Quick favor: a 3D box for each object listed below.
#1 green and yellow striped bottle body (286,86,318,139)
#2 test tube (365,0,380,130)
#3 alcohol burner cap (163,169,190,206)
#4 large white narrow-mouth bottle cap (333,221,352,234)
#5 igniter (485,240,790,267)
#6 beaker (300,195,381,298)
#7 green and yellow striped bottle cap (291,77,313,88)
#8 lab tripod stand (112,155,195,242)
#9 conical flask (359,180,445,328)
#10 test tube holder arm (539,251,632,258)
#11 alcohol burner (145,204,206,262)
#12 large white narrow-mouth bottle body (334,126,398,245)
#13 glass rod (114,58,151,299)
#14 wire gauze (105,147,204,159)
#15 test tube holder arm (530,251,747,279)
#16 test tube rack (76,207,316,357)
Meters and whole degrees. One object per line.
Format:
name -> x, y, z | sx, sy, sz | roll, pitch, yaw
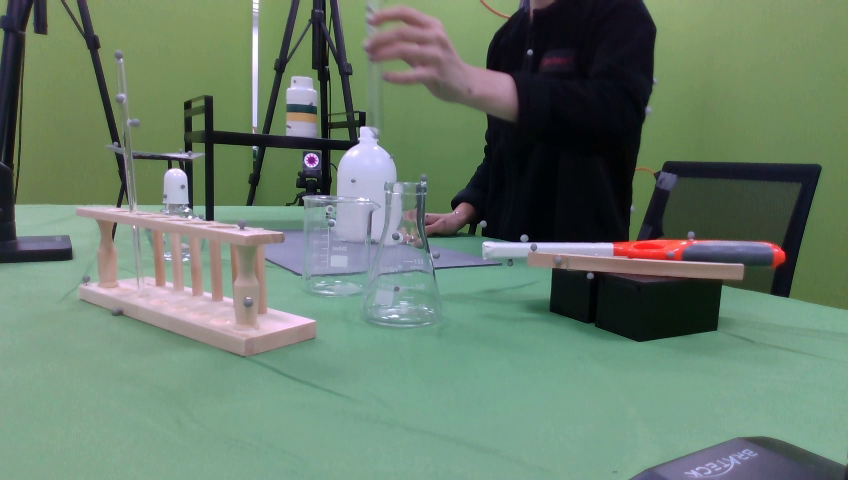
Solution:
green and yellow striped bottle body -> -0.251, -0.270, 1.245 | 0.063, 0.119, 0.063 | 2, 7, 0
test tube -> -0.057, -0.197, 0.664 | 0.017, 0.150, 0.017 | 1, 10, 0
alcohol burner cap -> -0.320, -0.067, 0.782 | 0.034, 0.048, 0.034 | 1, 7, 0
large white narrow-mouth bottle cap -> -0.152, -0.024, 1.134 | 0.038, 0.024, 0.037 | 4, 7, 0
igniter -> 0.197, 0.012, 0.585 | 0.276, 0.025, 0.057 | 1, 5, 12
beaker -> -0.087, 0.006, 0.626 | 0.084, 0.100, 0.074 | 1, 8, -17
green and yellow striped bottle cap -> -0.250, -0.321, 1.238 | 0.045, 0.020, 0.045 | 3, 6, 0
lab tripod stand -> -0.405, -0.064, 0.931 | 0.148, 0.131, 0.148 | 1, 7, 0
conical flask -> -0.017, 0.010, 0.522 | 0.075, 0.122, 0.075 | 2, 7, 0
test tube holder arm -> 0.139, 0.019, 0.538 | 0.087, 0.015, 0.010 | 3, 9, 13
alcohol burner -> -0.322, -0.032, 0.788 | 0.078, 0.119, 0.078 | 0, 7, 0
large white narrow-mouth bottle body -> -0.096, -0.094, 1.023 | 0.102, 0.194, 0.102 | 4, 7, 0
glass rod -> -0.236, -0.044, 0.492 | 0.008, 0.199, 0.008 | 0, 15, 0
wire gauze -> -0.407, -0.131, 0.929 | 0.125, 0.011, 0.121 | 2, 6, -11
test tube holder arm -> 0.182, 0.022, 0.522 | 0.178, 0.015, 0.013 | 3, 9, 13
test tube rack -> -0.196, 0.023, 0.500 | 0.241, 0.085, 0.067 | 8, 9, 36
